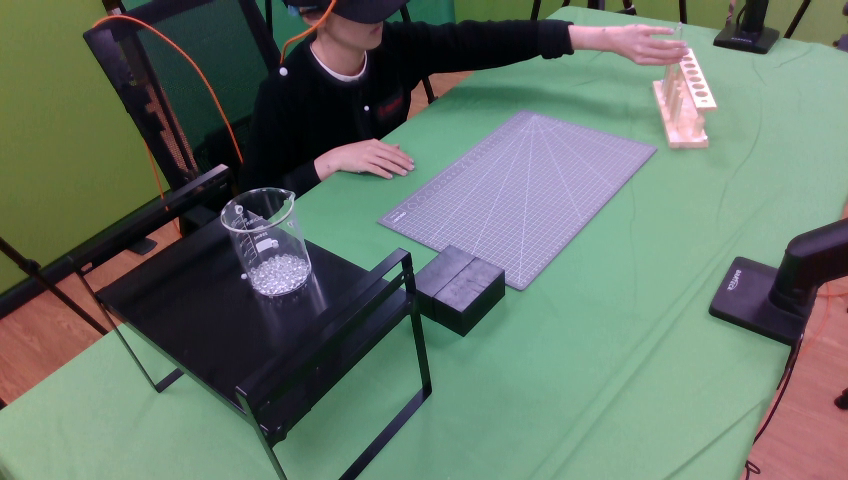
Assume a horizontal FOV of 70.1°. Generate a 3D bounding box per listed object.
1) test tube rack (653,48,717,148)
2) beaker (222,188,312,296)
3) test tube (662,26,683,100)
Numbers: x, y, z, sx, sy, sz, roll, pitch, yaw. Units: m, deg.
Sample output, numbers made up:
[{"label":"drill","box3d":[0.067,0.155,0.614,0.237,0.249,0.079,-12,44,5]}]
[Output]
[{"label":"test tube rack","box3d":[0.502,-0.281,1.176,0.066,0.085,0.241,1,41,10]},{"label":"beaker","box3d":[-0.164,0.003,0.659,0.073,0.101,0.084,28,51,34]},{"label":"test tube","box3d":[0.485,-0.343,1.182,0.017,0.151,0.017,-4,41,4]}]
